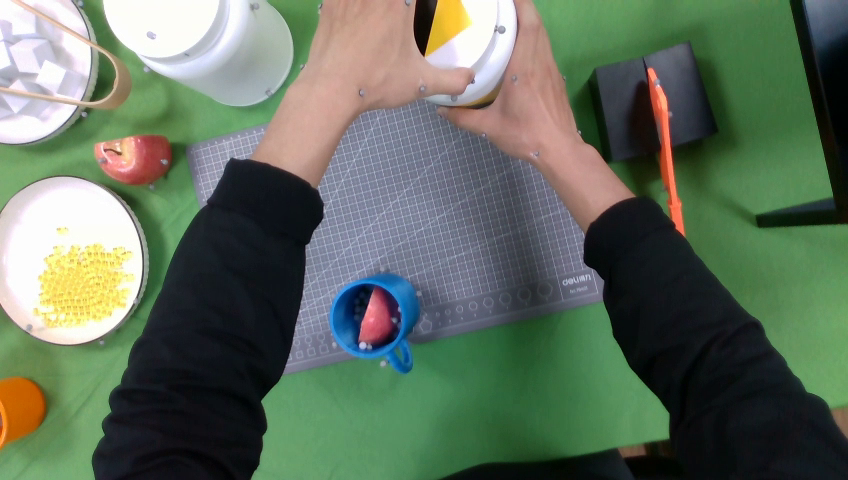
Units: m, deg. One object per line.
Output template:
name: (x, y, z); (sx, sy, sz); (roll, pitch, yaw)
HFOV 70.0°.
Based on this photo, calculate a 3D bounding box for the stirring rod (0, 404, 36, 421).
stirring rod: (-0.564, 0.221, 0.717); (0.177, 0.006, 0.014); (-6, 80, -34)

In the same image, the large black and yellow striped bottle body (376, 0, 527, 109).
large black and yellow striped bottle body: (0.026, -0.204, 0.597); (0.130, 0.184, 0.131); (2, 97, 16)

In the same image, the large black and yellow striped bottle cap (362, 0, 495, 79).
large black and yellow striped bottle cap: (0.002, -0.197, 0.516); (0.114, 0.019, 0.115); (2, 98, 15)

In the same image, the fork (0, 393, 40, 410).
fork: (-0.577, 0.204, 0.715); (0.209, 0.018, 0.028); (2, 92, -37)

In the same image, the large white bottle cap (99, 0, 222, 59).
large white bottle cap: (-0.244, -0.227, 0.560); (0.115, 0.018, 0.115); (0, 92, 7)

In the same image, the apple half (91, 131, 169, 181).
apple half: (-0.343, -0.096, 0.717); (0.081, 0.074, 0.053); (-10, 95, 3)

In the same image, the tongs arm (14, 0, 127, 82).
tongs arm: (-0.510, -0.288, 0.715); (0.387, 0.028, 0.028); (29, 88, 7)

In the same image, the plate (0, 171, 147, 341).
plate: (-0.437, 0.019, 0.749); (0.209, 0.038, 0.209); (0, 93, 6)

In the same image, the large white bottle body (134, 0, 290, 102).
large white bottle body: (-0.233, -0.228, 0.644); (0.130, 0.185, 0.130); (0, 91, 7)

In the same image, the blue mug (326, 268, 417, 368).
blue mug: (-0.047, 0.089, 0.674); (0.082, 0.106, 0.116); (-29, 89, 7)

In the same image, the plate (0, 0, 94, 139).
plate: (-0.499, -0.227, 0.746); (0.207, 0.039, 0.207); (0, 93, 6)

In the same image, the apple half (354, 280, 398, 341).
apple half: (-0.045, 0.079, 0.668); (0.032, 0.081, 0.081); (18, 94, 13)

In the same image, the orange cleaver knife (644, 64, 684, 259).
orange cleaver knife: (0.256, -0.080, 0.649); (0.012, 0.076, 0.213); (-12, 117, 15)

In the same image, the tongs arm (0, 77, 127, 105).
tongs arm: (-0.538, -0.209, 0.719); (0.384, 0.026, 0.050); (15, 90, 7)
